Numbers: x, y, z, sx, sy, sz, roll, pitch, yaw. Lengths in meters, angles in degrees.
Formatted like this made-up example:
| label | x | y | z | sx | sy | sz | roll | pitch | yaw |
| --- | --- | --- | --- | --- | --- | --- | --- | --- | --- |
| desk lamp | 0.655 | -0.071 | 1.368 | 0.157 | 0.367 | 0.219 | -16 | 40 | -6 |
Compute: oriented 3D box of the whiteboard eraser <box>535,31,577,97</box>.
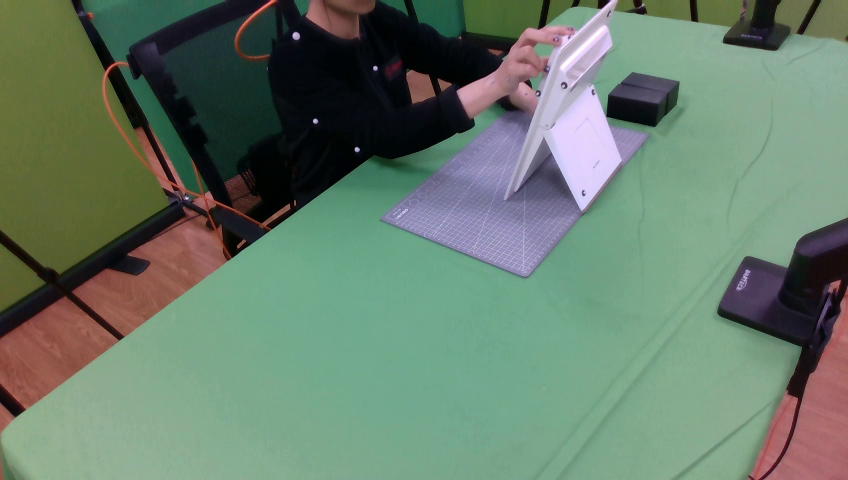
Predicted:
| label | x | y | z | sx | sy | sz | roll | pitch | yaw |
| --- | --- | --- | --- | --- | --- | --- | --- | --- | --- |
| whiteboard eraser | 0.222 | -0.276 | 0.977 | 0.041 | 0.113 | 0.056 | 39 | 54 | 16 |

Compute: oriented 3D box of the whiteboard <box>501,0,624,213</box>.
| label | x | y | z | sx | sy | sz | roll | pitch | yaw |
| --- | --- | --- | --- | --- | --- | --- | --- | --- | --- |
| whiteboard | 0.272 | -0.189 | 0.978 | 0.143 | 0.306 | 0.218 | 34 | 53 | 16 |
